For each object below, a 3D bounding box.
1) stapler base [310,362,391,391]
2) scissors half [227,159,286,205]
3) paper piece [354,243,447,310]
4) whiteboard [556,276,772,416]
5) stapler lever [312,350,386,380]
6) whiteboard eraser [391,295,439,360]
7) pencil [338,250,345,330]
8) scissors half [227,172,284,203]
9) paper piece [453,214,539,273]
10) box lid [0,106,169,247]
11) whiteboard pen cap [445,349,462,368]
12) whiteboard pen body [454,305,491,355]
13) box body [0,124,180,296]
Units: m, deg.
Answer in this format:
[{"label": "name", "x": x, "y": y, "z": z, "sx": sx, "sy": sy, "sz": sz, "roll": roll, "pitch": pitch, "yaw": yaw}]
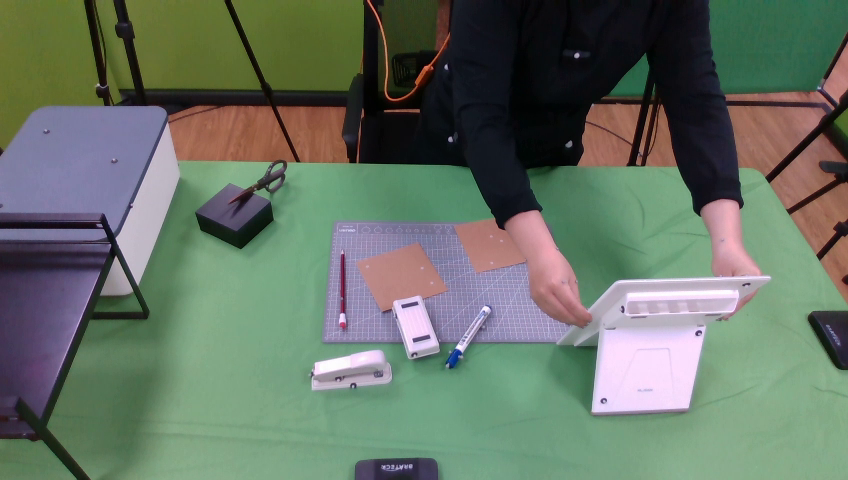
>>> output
[{"label": "stapler base", "x": -0.119, "y": 0.215, "z": 0.980, "sx": 0.131, "sy": 0.024, "sz": 0.041, "roll": -5, "pitch": 44, "yaw": -7}, {"label": "scissors half", "x": -0.336, "y": -0.117, "z": 1.218, "sx": 0.013, "sy": 0.040, "sz": 0.175, "roll": 28, "pitch": 47, "yaw": 12}, {"label": "paper piece", "x": -0.045, "y": 0.067, "z": 1.137, "sx": 0.136, "sy": 0.009, "sz": 0.137, "roll": -13, "pitch": 46, "yaw": -23}, {"label": "whiteboard", "x": 0.349, "y": 0.173, "z": 0.904, "sx": 0.217, "sy": 0.306, "sz": 0.143, "roll": 0, "pitch": 65, "yaw": -5}, {"label": "stapler lever", "x": -0.120, "y": 0.199, "z": 0.963, "sx": 0.118, "sy": 0.040, "sz": 0.026, "roll": -4, "pitch": 44, "yaw": -8}, {"label": "whiteboard eraser", "x": -0.016, "y": 0.150, "z": 1.034, "sx": 0.056, "sy": 0.042, "sz": 0.112, "roll": -10, "pitch": 48, "yaw": -15}, {"label": "pencil", "x": -0.152, "y": 0.086, "z": 1.107, "sx": 0.012, "sy": 0.012, "sz": 0.192, "roll": -2, "pitch": 44, "yaw": -7}, {"label": "scissors half", "x": -0.340, "y": -0.101, "z": 1.230, "sx": 0.013, "sy": 0.040, "sz": 0.175, "roll": 24, "pitch": 29, "yaw": 15}, {"label": "paper piece", "x": 0.142, "y": 0.003, "z": 1.212, "sx": 0.135, "sy": 0.004, "sz": 0.135, "roll": -11, "pitch": 48, "yaw": -14}, {"label": "box lid", "x": -0.624, "y": -0.125, "z": 1.067, "sx": 0.263, "sy": 0.015, "sz": 0.369, "roll": 0, "pitch": 46, "yaw": -3}, {"label": "whiteboard pen cap", "x": 0.049, "y": 0.197, "z": 1.011, "sx": 0.018, "sy": 0.018, "sz": 0.033, "roll": 24, "pitch": 51, "yaw": 18}, {"label": "whiteboard pen body", "x": 0.080, "y": 0.163, "z": 1.047, "sx": 0.017, "sy": 0.017, "sz": 0.140, "roll": 25, "pitch": 50, "yaw": 19}, {"label": "box body", "x": -0.627, "y": -0.075, "z": 1.122, "sx": 0.254, "sy": 0.161, "sz": 0.361, "roll": 1, "pitch": 46, "yaw": -4}]
